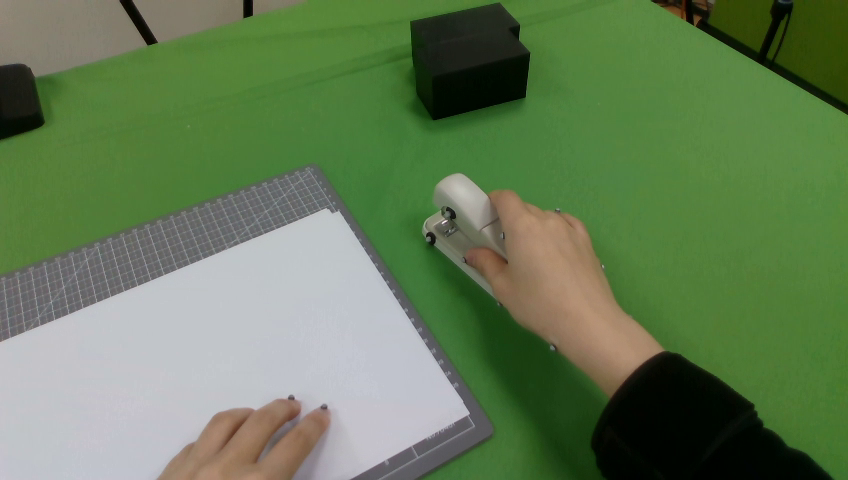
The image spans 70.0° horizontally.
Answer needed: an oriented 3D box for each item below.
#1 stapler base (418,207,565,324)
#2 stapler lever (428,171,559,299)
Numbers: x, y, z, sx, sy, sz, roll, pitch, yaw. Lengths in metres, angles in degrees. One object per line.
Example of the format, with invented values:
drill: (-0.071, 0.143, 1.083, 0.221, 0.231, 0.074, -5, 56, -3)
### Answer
stapler base: (0.047, 0.008, 0.460, 0.041, 0.024, 0.129, -36, 59, -21)
stapler lever: (0.048, -0.007, 0.440, 0.027, 0.040, 0.117, -36, 58, -21)
